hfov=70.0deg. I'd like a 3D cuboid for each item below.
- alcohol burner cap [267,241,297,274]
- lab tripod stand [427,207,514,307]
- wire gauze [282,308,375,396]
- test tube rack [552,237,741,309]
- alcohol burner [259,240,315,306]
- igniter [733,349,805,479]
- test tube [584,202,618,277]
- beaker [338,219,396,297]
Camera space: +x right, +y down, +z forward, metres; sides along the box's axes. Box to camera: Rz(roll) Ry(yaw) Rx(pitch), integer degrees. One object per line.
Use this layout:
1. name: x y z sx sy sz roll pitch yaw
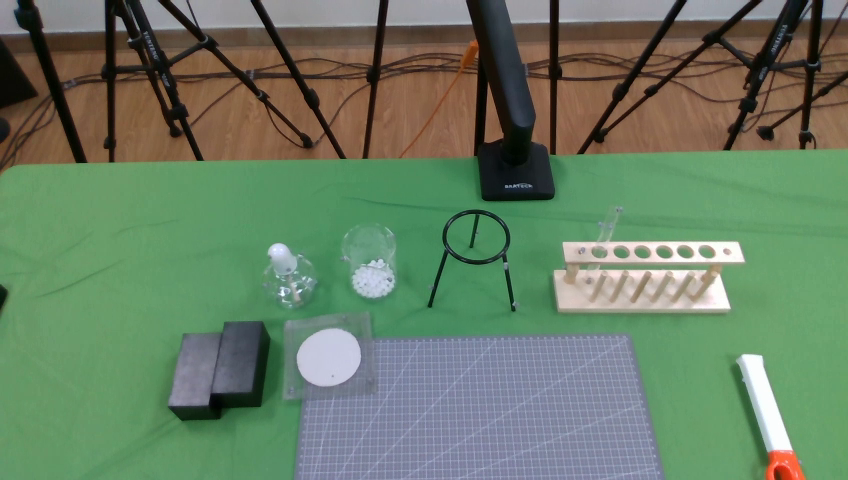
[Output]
1. alcohol burner cap: -0.194 0.021 0.815 0.034 0.048 0.033 -3 59 5
2. lab tripod stand: 0.066 0.024 0.845 0.148 0.132 0.147 -1 54 2
3. wire gauze: -0.133 0.152 0.828 0.125 0.011 0.120 -6 54 -3
4. test tube rack: 0.312 0.048 0.857 0.242 0.086 0.066 0 55 0
5. alcohol burner: -0.194 0.041 0.845 0.078 0.120 0.077 0 53 0
6. igniter: 0.436 0.263 0.742 0.057 0.025 0.274 6 55 -9
7. test tube: 0.240 0.003 0.828 0.017 0.151 0.017 0 51 0
8. beaker: -0.076 0.031 0.861 0.074 0.101 0.083 -27 60 -17
